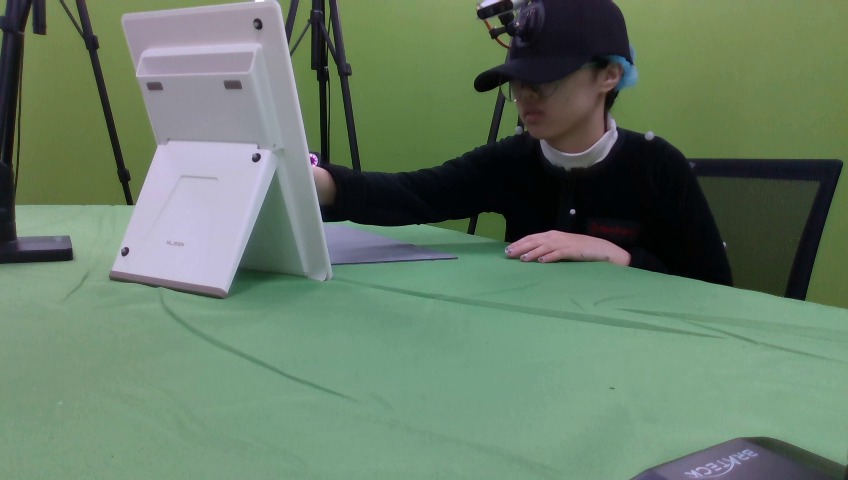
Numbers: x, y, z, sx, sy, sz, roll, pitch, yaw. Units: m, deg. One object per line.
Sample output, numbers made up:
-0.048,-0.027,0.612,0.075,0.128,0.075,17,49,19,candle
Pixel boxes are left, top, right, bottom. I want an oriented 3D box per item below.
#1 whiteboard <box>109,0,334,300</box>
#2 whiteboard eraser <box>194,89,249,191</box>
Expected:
-0.247,-0.072,0.624,0.216,0.305,0.144,6,28,26,whiteboard
-0.238,-0.114,0.704,0.055,0.112,0.042,25,36,11,whiteboard eraser
